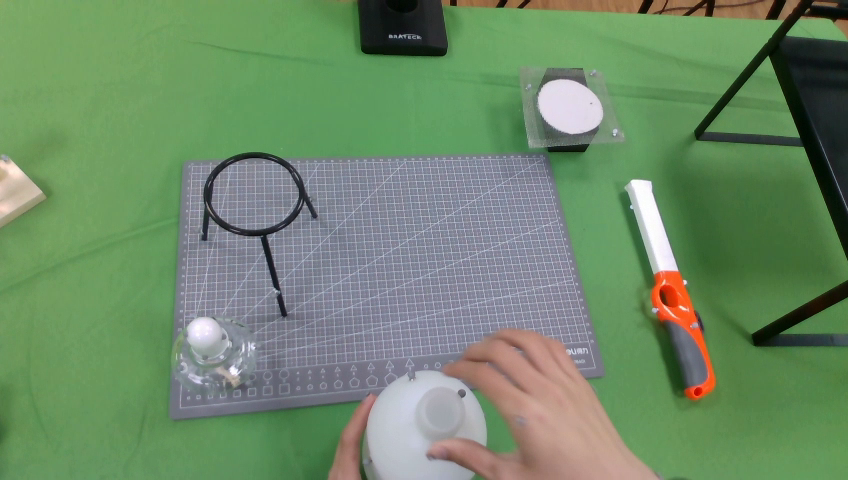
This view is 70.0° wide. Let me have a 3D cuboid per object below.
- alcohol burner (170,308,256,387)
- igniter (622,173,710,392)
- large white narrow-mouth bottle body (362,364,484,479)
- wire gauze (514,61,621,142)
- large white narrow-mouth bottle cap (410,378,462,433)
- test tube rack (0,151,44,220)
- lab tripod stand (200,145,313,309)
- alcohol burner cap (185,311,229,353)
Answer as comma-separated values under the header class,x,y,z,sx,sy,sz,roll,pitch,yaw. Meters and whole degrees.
class,x,y,z,sx,sy,sz,roll,pitch,yaw
alcohol burner,-0.197,0.094,0.562,0.078,0.120,0.077,5,61,-8
igniter,0.284,0.041,0.718,0.057,0.025,0.274,2,63,-20
large white narrow-mouth bottle body,-0.002,0.162,0.517,0.102,0.196,0.101,3,62,-6
wire gauze,0.179,-0.178,0.767,0.122,0.011,0.124,-1,64,-10
large white narrow-mouth bottle cap,0.008,0.121,0.442,0.038,0.024,0.037,4,62,-6
test tube rack,-0.515,-0.018,0.585,0.066,0.085,0.242,41,64,12
lab tripod stand,-0.164,-0.018,0.612,0.149,0.132,0.147,5,63,-9
alcohol burner cap,-0.191,0.079,0.529,0.034,0.048,0.033,3,69,-7
